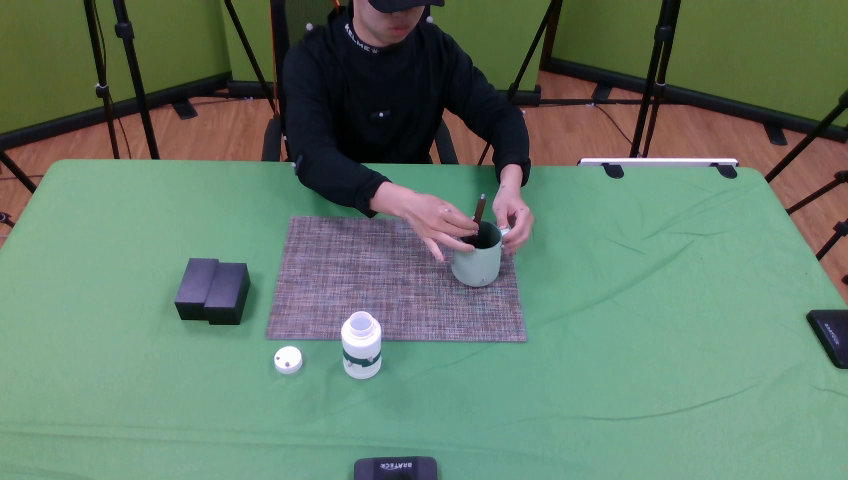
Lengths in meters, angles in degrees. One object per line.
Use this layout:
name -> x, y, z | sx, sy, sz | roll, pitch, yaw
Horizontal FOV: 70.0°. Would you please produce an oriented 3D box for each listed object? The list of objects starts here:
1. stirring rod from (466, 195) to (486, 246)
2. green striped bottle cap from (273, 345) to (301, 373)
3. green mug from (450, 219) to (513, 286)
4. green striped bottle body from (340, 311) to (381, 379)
stirring rod -> 0.088, -0.016, 1.096 | 0.014, 0.177, 0.006 | -1, 48, -11
green striped bottle cap -> -0.225, 0.195, 0.997 | 0.044, 0.020, 0.044 | 3, 50, -3
green mug -> 0.111, 0.018, 1.125 | 0.125, 0.105, 0.092 | -22, 51, -23
green striped bottle body -> -0.101, 0.164, 0.964 | 0.063, 0.120, 0.063 | 2, 46, -2
